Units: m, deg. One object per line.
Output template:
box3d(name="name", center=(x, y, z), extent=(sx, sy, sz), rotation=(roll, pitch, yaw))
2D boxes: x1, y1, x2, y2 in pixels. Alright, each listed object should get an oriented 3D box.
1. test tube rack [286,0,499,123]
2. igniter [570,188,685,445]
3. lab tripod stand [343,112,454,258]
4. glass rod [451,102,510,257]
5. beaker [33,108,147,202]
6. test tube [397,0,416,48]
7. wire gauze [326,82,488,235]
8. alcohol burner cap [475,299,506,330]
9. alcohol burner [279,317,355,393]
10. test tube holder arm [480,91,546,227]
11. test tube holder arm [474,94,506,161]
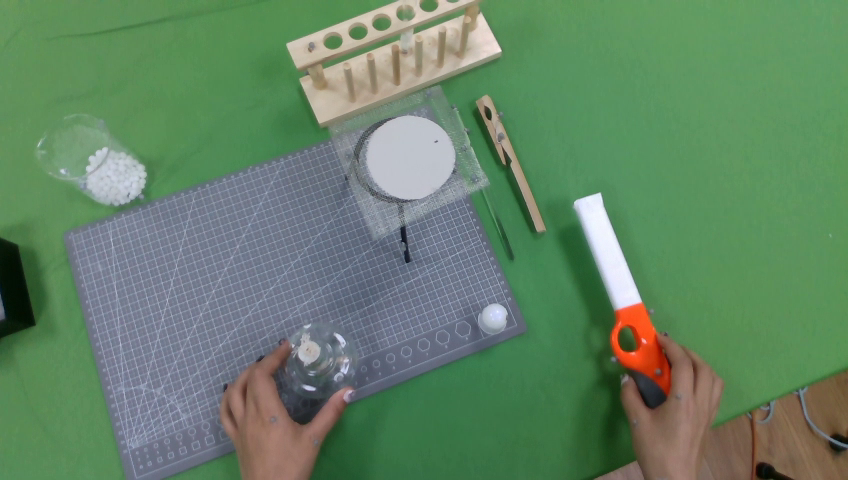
box3d(name="test tube rack", center=(-0.030, -0.227, 0.712), extent=(0.242, 0.085, 0.066), rotation=(-23, 76, -6))
box3d(name="igniter", center=(0.216, 0.076, 0.645), extent=(0.057, 0.025, 0.275), rotation=(-17, 78, 0))
box3d(name="lab tripod stand", center=(-0.030, -0.066, 0.643), extent=(0.148, 0.132, 0.147), rotation=(0, 76, 1))
box3d(name="glass rod", center=(0.067, -0.073, 0.714), extent=(0.008, 0.008, 0.199), rotation=(-18, 80, -6))
box3d(name="beaker", center=(-0.360, -0.088, 0.665), extent=(0.084, 0.101, 0.073), rotation=(-3, 75, -1))
box3d(name="test tube", center=(-0.018, -0.262, 0.670), extent=(0.017, 0.151, 0.017), rotation=(2, 72, -6))
box3d(name="wire gauze", center=(-0.017, -0.083, 0.578), extent=(0.121, 0.011, 0.124), rotation=(-23, 76, -5))
box3d(name="alcohol burner cap", center=(0.073, 0.078, 0.655), extent=(0.034, 0.048, 0.033), rotation=(0, 74, -1))
box3d(name="alcohol burner", center=(-0.110, 0.113, 0.606), extent=(0.078, 0.120, 0.077), rotation=(0, 73, 1))
box3d(name="test tube holder arm", center=(0.104, -0.097, 0.714), extent=(0.013, 0.015, 0.177), rotation=(-29, 76, 26))
box3d(name="test tube holder arm", center=(0.083, -0.135, 0.726), extent=(0.010, 0.015, 0.087), rotation=(-28, 76, 27))
